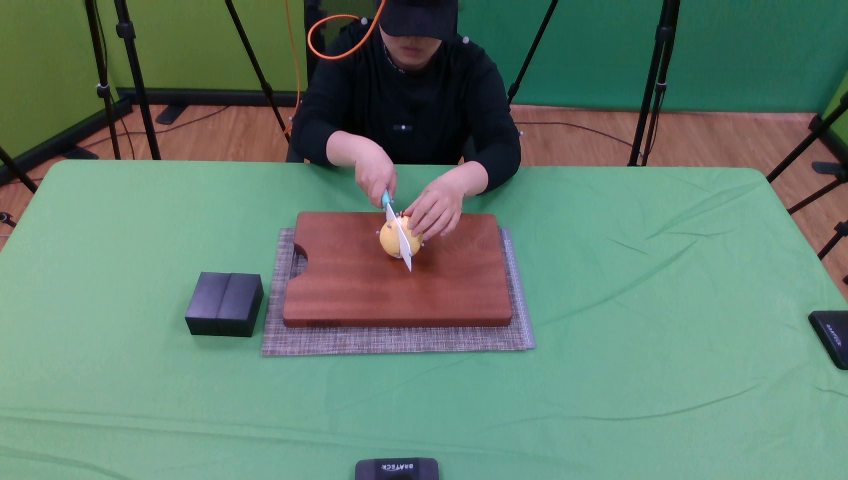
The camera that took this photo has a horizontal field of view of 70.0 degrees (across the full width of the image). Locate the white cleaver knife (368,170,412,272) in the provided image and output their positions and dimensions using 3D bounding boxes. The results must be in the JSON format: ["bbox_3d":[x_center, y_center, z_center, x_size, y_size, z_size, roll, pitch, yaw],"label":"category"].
[{"bbox_3d":[-0.066,-0.043,1.133,0.021,0.066,0.284,-8,38,-14],"label":"white cleaver knife"}]

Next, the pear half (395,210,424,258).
[{"bbox_3d":[-0.028,-0.018,1.114,0.056,0.110,0.076,-14,54,-17],"label":"pear half"}]

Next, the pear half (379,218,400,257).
[{"bbox_3d":[-0.065,-0.004,1.112,0.031,0.088,0.070,-19,59,-14],"label":"pear half"}]
